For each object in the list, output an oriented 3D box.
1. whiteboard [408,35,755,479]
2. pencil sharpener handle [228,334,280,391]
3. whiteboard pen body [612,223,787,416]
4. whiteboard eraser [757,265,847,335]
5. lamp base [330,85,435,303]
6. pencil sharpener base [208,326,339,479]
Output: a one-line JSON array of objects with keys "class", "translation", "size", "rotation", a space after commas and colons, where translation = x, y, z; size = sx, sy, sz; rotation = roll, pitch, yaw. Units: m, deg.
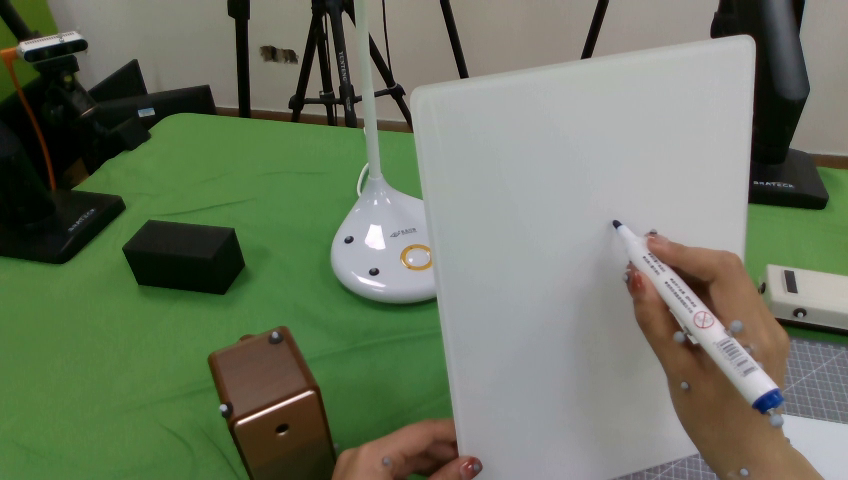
[{"class": "whiteboard", "translation": [0.102, 0.020, 0.457], "size": [0.217, 0.307, 0.142], "rotation": [-11, 20, -9]}, {"class": "pencil sharpener handle", "translation": [-0.133, 0.091, 0.477], "size": [0.036, 0.068, 0.030], "rotation": [-27, 43, -14]}, {"class": "whiteboard pen body", "translation": [0.143, 0.036, 0.334], "size": [0.017, 0.017, 0.139], "rotation": [-15, 47, -14]}, {"class": "whiteboard eraser", "translation": [0.371, 0.059, 0.558], "size": [0.112, 0.042, 0.055], "rotation": [8, 38, 15]}, {"class": "lamp base", "translation": [-0.032, -0.055, 0.618], "size": [0.161, 0.182, 0.177], "rotation": [-24, 40, -24]}, {"class": "pencil sharpener base", "translation": [-0.110, 0.128, 0.449], "size": [0.061, 0.108, 0.076], "rotation": [-21, 41, -20]}]
